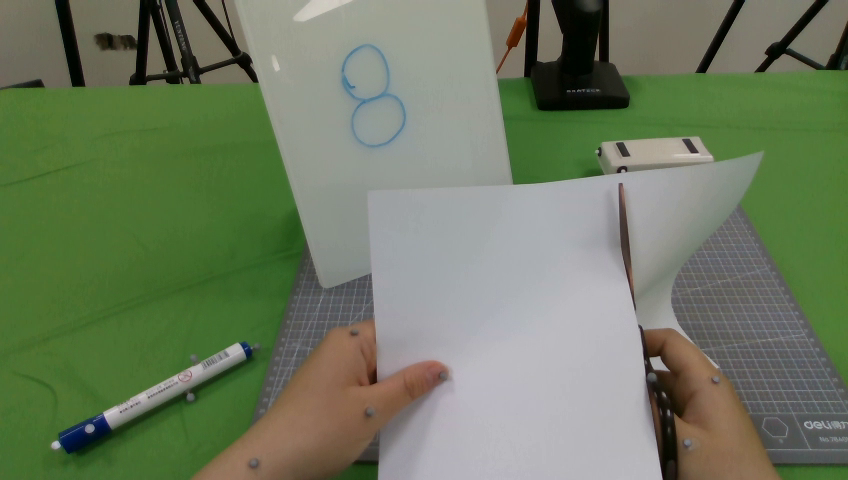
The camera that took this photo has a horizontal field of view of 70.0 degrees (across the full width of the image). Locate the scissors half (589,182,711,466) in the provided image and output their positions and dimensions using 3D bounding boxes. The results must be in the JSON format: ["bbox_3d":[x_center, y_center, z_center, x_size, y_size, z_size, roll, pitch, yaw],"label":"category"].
[{"bbox_3d":[0.129,0.045,0.358,0.013,0.040,0.174,-12,73,-18],"label":"scissors half"}]

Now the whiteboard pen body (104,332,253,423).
[{"bbox_3d":[-0.199,0.110,0.470,0.141,0.017,0.017,-28,47,-28],"label":"whiteboard pen body"}]

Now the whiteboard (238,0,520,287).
[{"bbox_3d":[-0.053,-0.148,0.593,0.217,0.307,0.142,-19,23,-18],"label":"whiteboard"}]

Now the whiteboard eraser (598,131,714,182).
[{"bbox_3d":[0.253,-0.091,0.667,0.113,0.042,0.055,-2,43,0],"label":"whiteboard eraser"}]

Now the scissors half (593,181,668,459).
[{"bbox_3d":[0.123,0.049,0.377,0.013,0.175,0.040,-11,1,-23],"label":"scissors half"}]

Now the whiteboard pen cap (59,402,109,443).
[{"bbox_3d":[-0.246,0.132,0.443,0.033,0.018,0.018,-28,47,-28],"label":"whiteboard pen cap"}]
